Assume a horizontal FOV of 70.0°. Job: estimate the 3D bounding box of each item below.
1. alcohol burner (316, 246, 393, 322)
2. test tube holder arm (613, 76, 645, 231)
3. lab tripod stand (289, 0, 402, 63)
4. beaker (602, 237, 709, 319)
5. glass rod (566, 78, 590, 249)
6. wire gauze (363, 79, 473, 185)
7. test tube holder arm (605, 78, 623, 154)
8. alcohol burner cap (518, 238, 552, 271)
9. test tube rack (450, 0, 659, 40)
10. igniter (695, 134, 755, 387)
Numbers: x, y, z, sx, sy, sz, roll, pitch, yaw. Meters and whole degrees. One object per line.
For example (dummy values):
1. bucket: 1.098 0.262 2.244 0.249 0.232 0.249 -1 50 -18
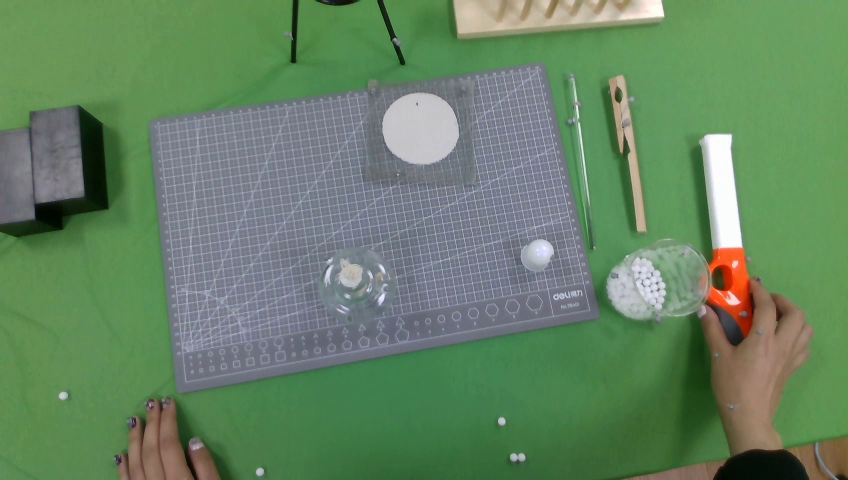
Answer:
1. alcohol burner: -0.070 0.041 0.595 0.078 0.119 0.077 0 78 0
2. test tube holder arm: 0.230 -0.098 0.681 0.013 0.015 0.177 -13 80 30
3. lab tripod stand: -0.088 -0.250 0.640 0.148 0.132 0.148 0 81 -2
4. beaker: 0.227 0.041 0.617 0.084 0.100 0.074 22 79 4
5. glass rod: 0.174 -0.088 0.683 0.008 0.008 0.199 -4 82 -3
6. wire gauze: -0.006 -0.123 0.681 0.125 0.011 0.121 2 81 -3
7. test tube holder arm: 0.219 -0.141 0.691 0.010 0.015 0.087 -12 80 30
8. alcohol burner cap: 0.120 0.013 0.643 0.034 0.048 0.033 0 79 -2
9. test tube rack: 0.154 -0.286 0.680 0.242 0.085 0.066 -6 80 -3
10. igniter: 0.326 0.018 0.661 0.057 0.025 0.275 -1 81 -4
